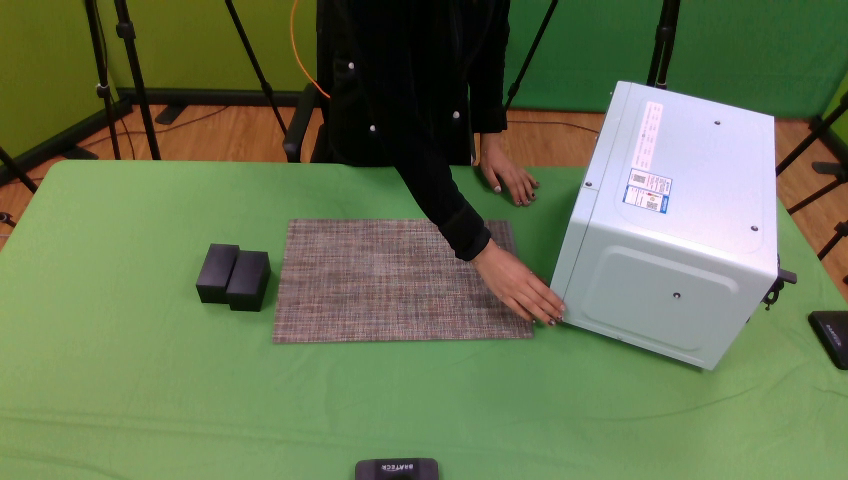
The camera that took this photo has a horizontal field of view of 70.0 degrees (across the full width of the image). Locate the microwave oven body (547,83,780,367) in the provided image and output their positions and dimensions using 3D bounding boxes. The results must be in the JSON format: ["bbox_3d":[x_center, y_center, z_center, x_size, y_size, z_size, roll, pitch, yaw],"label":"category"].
[{"bbox_3d":[0.445,-0.041,1.100,0.325,0.261,0.440,17,47,13],"label":"microwave oven body"}]

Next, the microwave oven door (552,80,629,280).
[{"bbox_3d":[0.324,-0.116,1.156,0.039,0.245,0.354,18,48,13],"label":"microwave oven door"}]

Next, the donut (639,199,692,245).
[{"bbox_3d":[0.461,-0.035,1.159,0.099,0.048,0.098,2,62,-3],"label":"donut"}]

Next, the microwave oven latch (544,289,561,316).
[{"bbox_3d":[0.237,0.099,1.086,0.030,0.029,0.079,18,47,14],"label":"microwave oven latch"}]

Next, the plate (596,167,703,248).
[{"bbox_3d":[0.432,-0.060,1.177,0.209,0.038,0.208,7,47,-7],"label":"plate"}]
